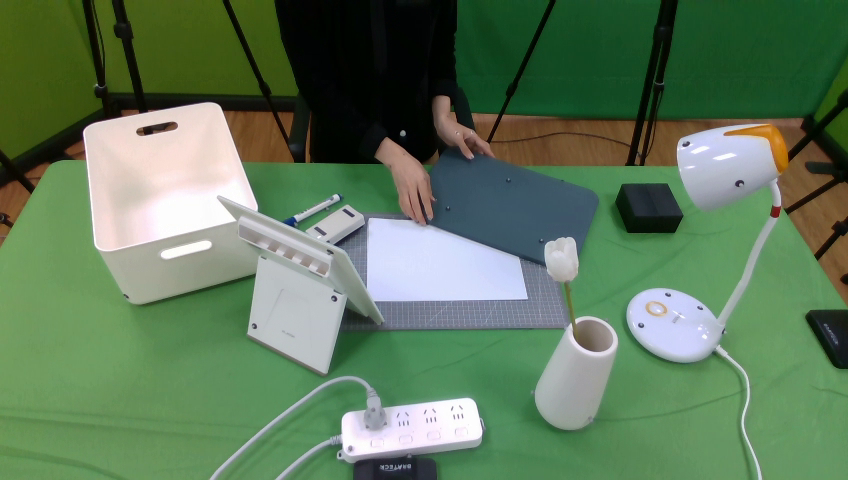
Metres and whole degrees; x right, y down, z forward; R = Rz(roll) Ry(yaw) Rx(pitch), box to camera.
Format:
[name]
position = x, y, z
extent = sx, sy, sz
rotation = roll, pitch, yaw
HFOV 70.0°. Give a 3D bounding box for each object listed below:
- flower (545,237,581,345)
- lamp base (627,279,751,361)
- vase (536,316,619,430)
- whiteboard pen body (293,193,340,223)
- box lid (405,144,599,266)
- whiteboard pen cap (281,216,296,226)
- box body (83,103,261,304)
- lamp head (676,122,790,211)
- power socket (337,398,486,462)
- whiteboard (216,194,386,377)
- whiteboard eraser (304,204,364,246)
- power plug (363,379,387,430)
[flower]
position = 0.213, 0.137, 0.846
extent = 0.038, 0.364, 0.044
rotation = 22, 55, 40
[lamp base]
position = 0.460, 0.100, 1.027
extent = 0.178, 0.181, 0.160
rotation = 27, 51, 17
[vase]
position = 0.229, 0.200, 0.901
extent = 0.098, 0.201, 0.097
rotation = 3, 46, -3
[whiteboard pen body]
position = -0.231, -0.062, 1.243
extent = 0.141, 0.017, 0.017
rotation = -32, 56, -30
[box lid]
position = 0.172, -0.079, 1.289
extent = 0.371, 0.015, 0.262
rotation = 21, 48, 13
[whiteboard pen cap]
position = -0.273, -0.035, 1.213
extent = 0.033, 0.018, 0.018
rotation = -32, 56, -31
[box body]
position = -0.465, -0.077, 1.137
extent = 0.254, 0.161, 0.361
rotation = -16, 50, -19
[lamp head]
position = 0.423, -0.104, 0.819
extent = 0.122, 0.113, 0.112
rotation = -13, 33, 40
[power socket]
position = -0.018, 0.285, 0.914
extent = 0.227, 0.033, 0.071
rotation = -4, 46, -8
[whiteboard]
position = -0.212, 0.093, 0.939
extent = 0.216, 0.307, 0.143
rotation = 24, 70, 17
[whiteboard eraser]
position = -0.175, -0.022, 1.188
extent = 0.055, 0.042, 0.112
rotation = 36, 54, 25
[power plug]
position = -0.071, 0.252, 0.911
extent = 0.035, 0.053, 0.072
rotation = 3, 40, 0
